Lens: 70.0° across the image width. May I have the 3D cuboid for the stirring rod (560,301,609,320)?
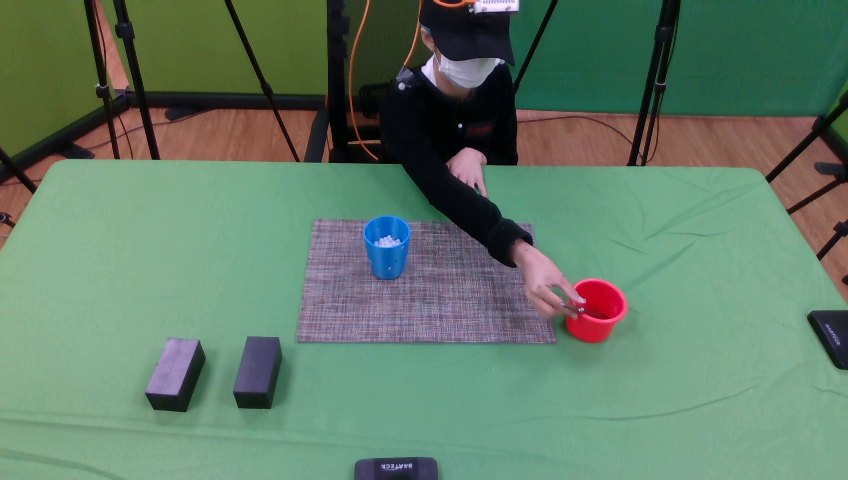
[{"bbox_3d":[0.274,0.120,1.025,0.177,0.006,0.014,19,18,-49],"label":"stirring rod"}]

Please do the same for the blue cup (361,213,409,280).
[{"bbox_3d":[-0.070,0.020,1.114,0.093,0.101,0.092,1,46,-1],"label":"blue cup"}]
